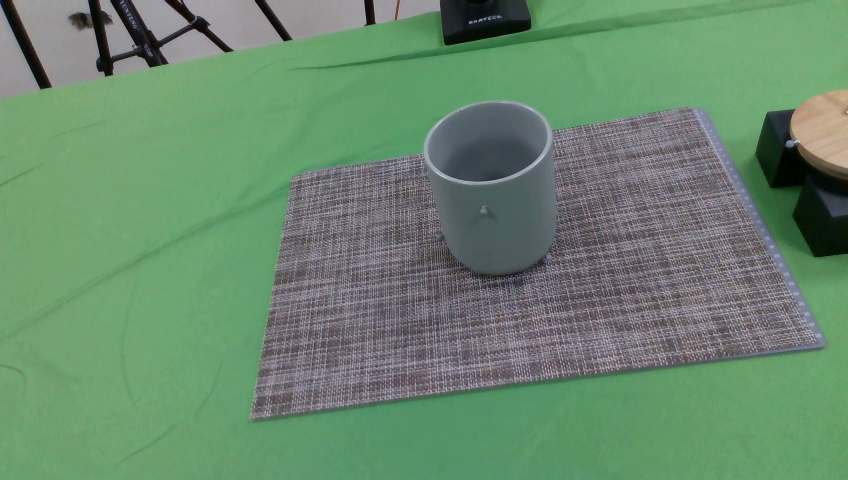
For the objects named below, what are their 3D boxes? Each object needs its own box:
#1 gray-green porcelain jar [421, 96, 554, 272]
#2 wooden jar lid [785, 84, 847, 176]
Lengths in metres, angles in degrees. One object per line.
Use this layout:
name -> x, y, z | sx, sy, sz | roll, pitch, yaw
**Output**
gray-green porcelain jar -> 0.060, -0.042, 0.531 | 0.106, 0.128, 0.105 | -7, 48, 8
wooden jar lid -> 0.362, -0.091, 0.507 | 0.108, 0.021, 0.107 | -7, 50, 9
